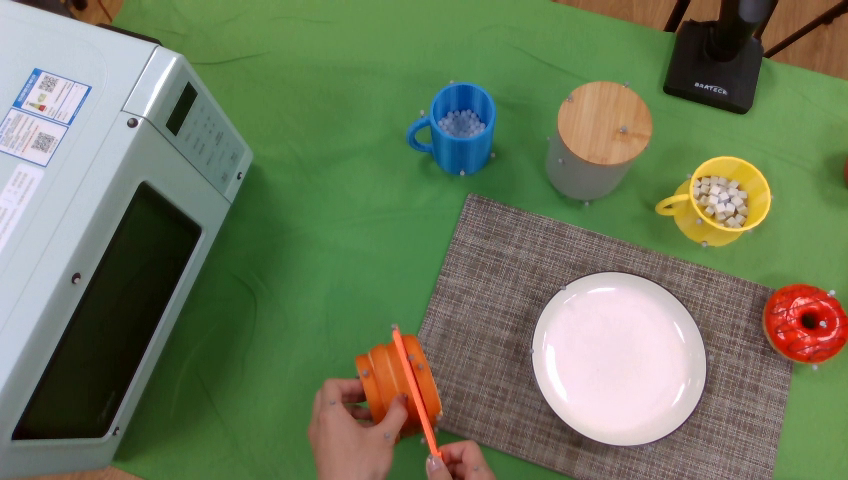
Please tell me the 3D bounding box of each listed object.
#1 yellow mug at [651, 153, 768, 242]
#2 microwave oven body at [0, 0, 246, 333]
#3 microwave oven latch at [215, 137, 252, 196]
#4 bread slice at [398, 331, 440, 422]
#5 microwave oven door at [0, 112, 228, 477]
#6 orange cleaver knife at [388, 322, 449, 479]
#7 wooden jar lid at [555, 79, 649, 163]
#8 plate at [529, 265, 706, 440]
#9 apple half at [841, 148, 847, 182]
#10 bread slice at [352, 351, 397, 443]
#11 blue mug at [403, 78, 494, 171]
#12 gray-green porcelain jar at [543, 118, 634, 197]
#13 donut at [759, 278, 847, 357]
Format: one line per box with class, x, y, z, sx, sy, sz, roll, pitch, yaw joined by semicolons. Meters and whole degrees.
yellow mug;0.359;-0.052;0.777;0.131;0.064;0.099;-5;74;1
microwave oven body;-0.460;-0.013;0.686;0.325;0.261;0.440;18;76;7
microwave oven latch;-0.258;-0.100;0.805;0.030;0.029;0.079;22;77;8
bread slice;-0.008;0.156;0.693;0.019;0.132;0.104;-19;75;-10
microwave oven door;-0.339;0.069;0.653;0.039;0.245;0.354;18;75;7
orange cleaver knife;-0.002;0.182;0.616;0.012;0.077;0.210;-18;81;-8
wooden jar lid;0.207;-0.137;0.709;0.108;0.021;0.107;0;72;2
plate;0.231;0.135;0.738;0.207;0.039;0.206;-1;74;2
apple half;0.560;-0.093;0.776;0.033;0.081;0.081;-13;73;-6
bread slice;-0.057;0.175;0.691;0.018;0.135;0.106;-20;71;-7
blue mug;0.030;-0.146;0.793;0.116;0.106;0.082;-7;73;0
gray-green porcelain jar;0.209;-0.119;0.769;0.106;0.127;0.105;0;74;2
donut;0.460;0.094;0.739;0.099;0.048;0.098;0;75;2
